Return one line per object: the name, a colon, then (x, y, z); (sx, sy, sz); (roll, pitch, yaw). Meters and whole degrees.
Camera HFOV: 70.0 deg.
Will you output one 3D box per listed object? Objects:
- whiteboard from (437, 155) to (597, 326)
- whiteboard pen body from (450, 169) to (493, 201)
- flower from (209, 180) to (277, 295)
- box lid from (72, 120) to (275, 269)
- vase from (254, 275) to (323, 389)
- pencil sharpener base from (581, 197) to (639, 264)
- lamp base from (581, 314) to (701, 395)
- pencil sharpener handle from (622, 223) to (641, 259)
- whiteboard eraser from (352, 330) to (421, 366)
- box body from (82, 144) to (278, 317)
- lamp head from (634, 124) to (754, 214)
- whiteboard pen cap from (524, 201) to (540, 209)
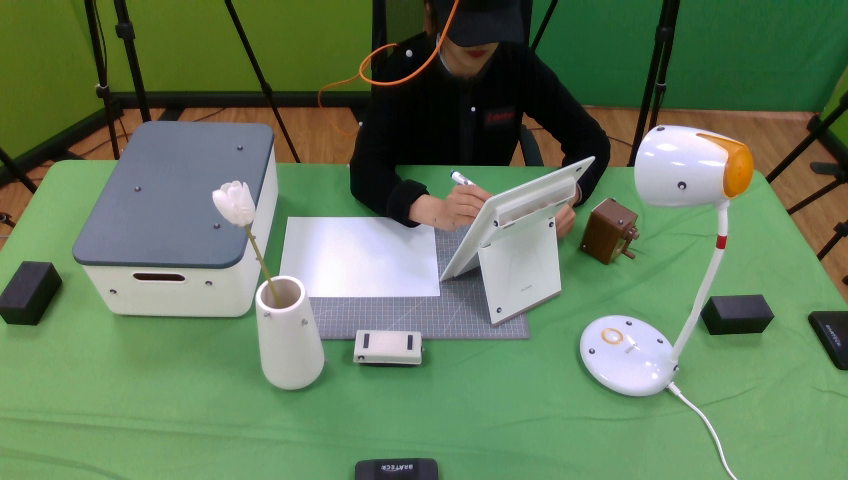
whiteboard: (0.180, 0.023, 1.029); (0.217, 0.306, 0.143); (-21, 70, -23)
whiteboard pen body: (0.097, -0.084, 1.054); (0.017, 0.017, 0.140); (-31, 54, -29)
flower: (-0.217, 0.075, 0.871); (0.044, 0.363, 0.038); (-29, 36, -19)
box lid: (-0.417, -0.094, 1.056); (0.263, 0.015, 0.369); (1, 47, -3)
vase: (-0.209, 0.143, 0.921); (0.098, 0.201, 0.097); (1, 46, -1)
pencil sharpener base: (0.362, -0.017, 1.179); (0.076, 0.107, 0.061); (37, 54, 27)
lamp base: (0.361, 0.145, 0.973); (0.178, 0.181, 0.160); (34, 53, 23)
pencil sharpener handle: (0.397, 0.003, 1.146); (0.030, 0.068, 0.036); (37, 46, 27)
whiteboard eraser: (-0.060, 0.180, 1.005); (0.113, 0.042, 0.055); (3, 48, -3)
box body: (-0.421, -0.041, 1.108); (0.254, 0.161, 0.361); (2, 46, -3)
lamp head: (0.351, -0.089, 0.776); (0.112, 0.113, 0.122); (-30, 30, -28)
whiteboard pen cap: (0.229, -0.074, 1.289); (0.033, 0.018, 0.018); (5, 46, 4)
